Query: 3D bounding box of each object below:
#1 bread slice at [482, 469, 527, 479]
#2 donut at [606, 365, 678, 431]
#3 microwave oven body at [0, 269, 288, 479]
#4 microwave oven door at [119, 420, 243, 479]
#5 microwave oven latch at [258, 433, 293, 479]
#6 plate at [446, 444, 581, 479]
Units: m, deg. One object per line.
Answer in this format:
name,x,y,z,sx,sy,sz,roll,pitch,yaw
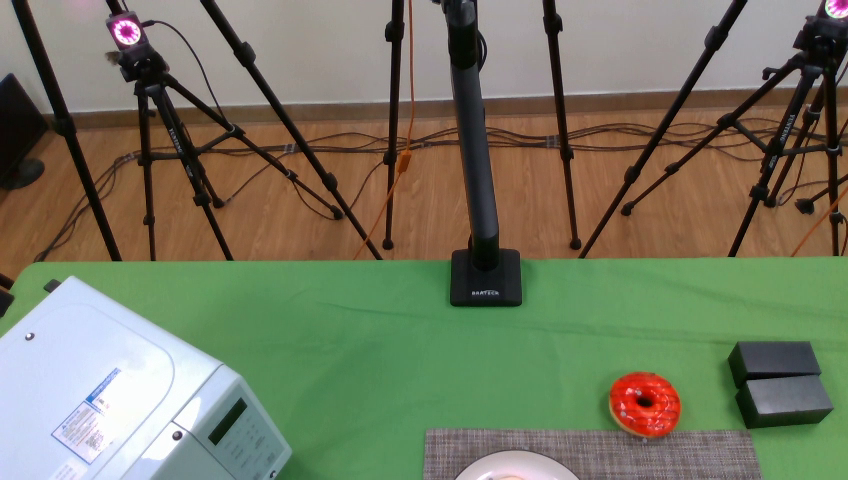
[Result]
bread slice,0.112,0.360,0.768,0.105,0.019,0.130,-24,53,-14
donut,0.307,0.223,0.857,0.099,0.049,0.098,-5,48,6
microwave oven body,-0.440,0.310,0.722,0.324,0.263,0.440,23,58,22
microwave oven door,-0.337,0.387,0.643,0.039,0.246,0.354,22,57,23
microwave oven latch,-0.214,0.300,0.832,0.030,0.030,0.079,24,58,23
plate,0.115,0.365,0.763,0.207,0.039,0.205,-2,51,3
